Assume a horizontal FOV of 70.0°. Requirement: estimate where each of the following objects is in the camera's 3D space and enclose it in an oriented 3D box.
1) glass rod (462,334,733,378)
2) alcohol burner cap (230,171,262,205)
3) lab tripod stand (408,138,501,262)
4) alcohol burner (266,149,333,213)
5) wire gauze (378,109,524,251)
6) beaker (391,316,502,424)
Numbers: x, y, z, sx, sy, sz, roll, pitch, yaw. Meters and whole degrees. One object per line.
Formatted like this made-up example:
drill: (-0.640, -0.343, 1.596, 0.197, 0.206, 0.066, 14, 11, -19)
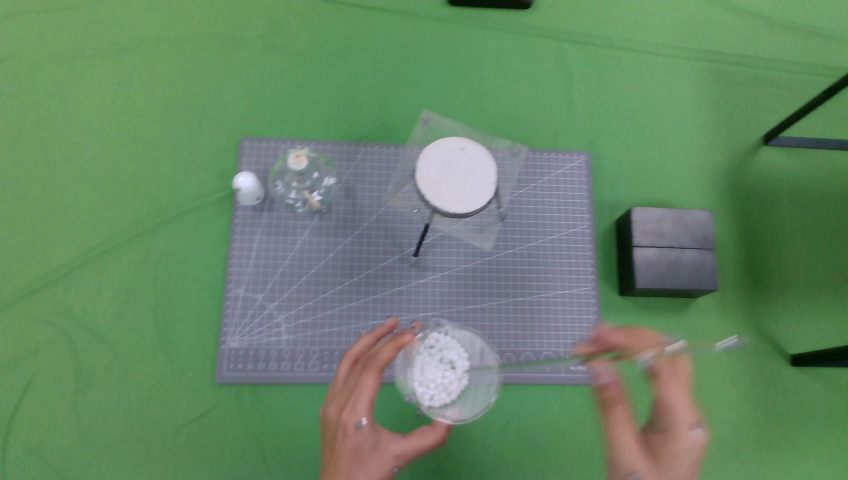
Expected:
glass rod: (0.096, 0.076, 0.389, 0.008, 0.199, 0.008, 17, 64, -40)
alcohol burner cap: (-0.213, -0.064, 0.720, 0.034, 0.048, 0.033, 1, 73, -4)
lab tripod stand: (0.028, -0.050, 0.693, 0.148, 0.132, 0.147, 2, 73, -6)
alcohol burner: (-0.143, -0.075, 0.693, 0.078, 0.119, 0.077, 2, 74, -6)
wire gauze: (0.030, -0.066, 0.628, 0.125, 0.011, 0.121, 23, 74, 0)
beaker: (0.012, 0.106, 0.507, 0.074, 0.100, 0.084, -21, 85, -15)
